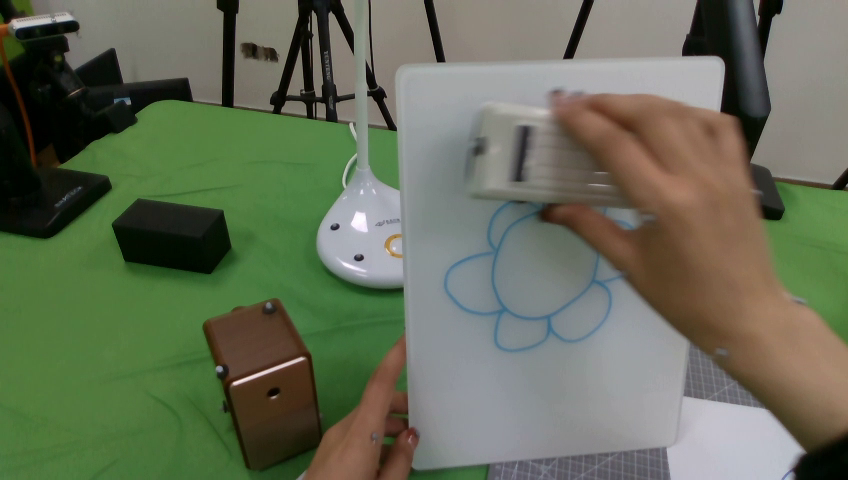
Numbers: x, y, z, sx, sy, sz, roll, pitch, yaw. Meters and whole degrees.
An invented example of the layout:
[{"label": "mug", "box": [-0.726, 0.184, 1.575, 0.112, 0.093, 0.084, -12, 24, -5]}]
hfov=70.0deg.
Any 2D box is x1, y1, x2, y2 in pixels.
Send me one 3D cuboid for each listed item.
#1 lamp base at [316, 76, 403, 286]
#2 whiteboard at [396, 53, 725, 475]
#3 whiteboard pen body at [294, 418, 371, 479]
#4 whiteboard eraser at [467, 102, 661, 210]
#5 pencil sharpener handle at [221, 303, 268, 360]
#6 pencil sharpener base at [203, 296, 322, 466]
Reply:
[{"label": "lamp base", "box": [-0.047, -0.070, 0.645, 0.161, 0.182, 0.177, -21, 41, -27]}, {"label": "whiteboard", "box": [0.087, 0.009, 0.493, 0.217, 0.307, 0.143, -3, 19, -5]}, {"label": "whiteboard pen body", "box": [-0.089, 0.180, 0.447, 0.017, 0.017, 0.140, 25, 39, 27]}, {"label": "whiteboard eraser", "box": [0.082, -0.049, 0.360, 0.113, 0.055, 0.041, 3, 6, -17]}, {"label": "pencil sharpener handle", "box": [-0.147, 0.070, 0.498, 0.036, 0.068, 0.030, -24, 44, -18]}, {"label": "pencil sharpener base", "box": [-0.124, 0.108, 0.470, 0.061, 0.108, 0.076, -18, 41, -23]}]
